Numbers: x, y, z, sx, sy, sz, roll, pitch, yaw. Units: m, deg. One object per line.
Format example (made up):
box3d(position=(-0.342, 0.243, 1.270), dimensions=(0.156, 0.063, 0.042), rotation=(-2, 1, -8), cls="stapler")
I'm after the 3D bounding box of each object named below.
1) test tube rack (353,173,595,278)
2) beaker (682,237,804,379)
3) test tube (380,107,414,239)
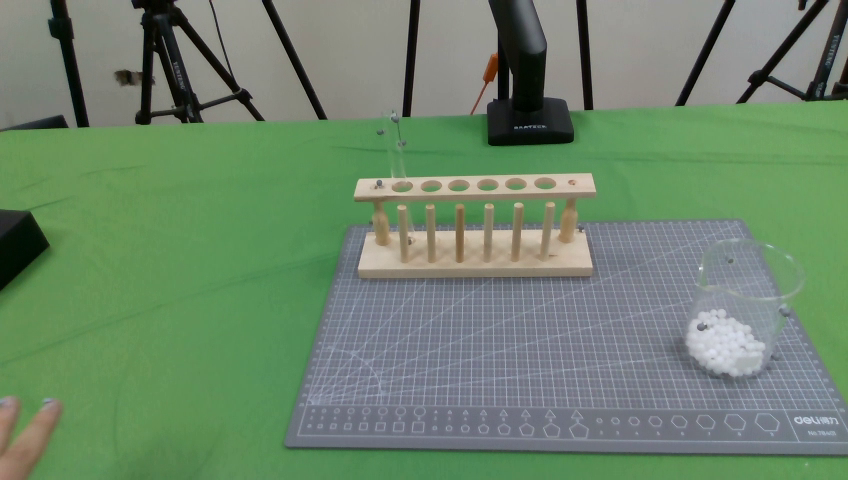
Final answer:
box3d(position=(0.050, -0.014, 0.630), dimensions=(0.242, 0.086, 0.066), rotation=(-1, 38, 5), cls="test tube rack")
box3d(position=(0.256, 0.060, 0.502), dimensions=(0.084, 0.101, 0.073), rotation=(-13, 38, -8), cls="beaker")
box3d(position=(-0.026, -0.064, 0.620), dimensions=(0.017, 0.151, 0.017), rotation=(-5, 36, 4), cls="test tube")
